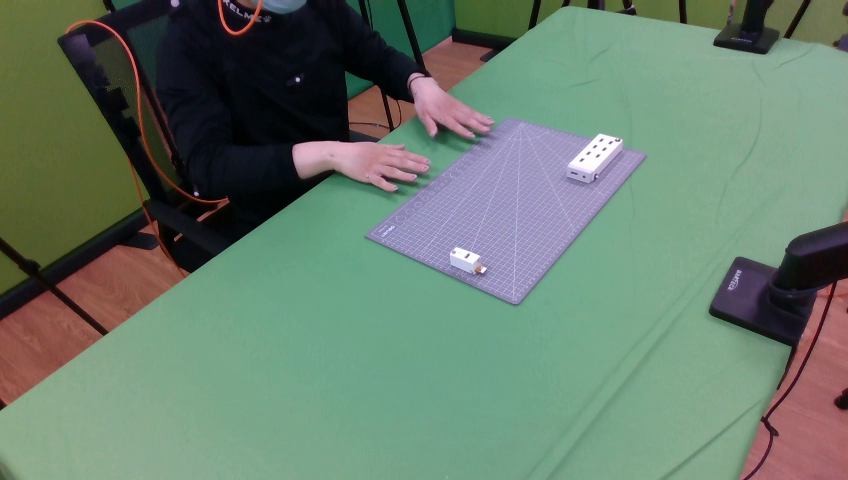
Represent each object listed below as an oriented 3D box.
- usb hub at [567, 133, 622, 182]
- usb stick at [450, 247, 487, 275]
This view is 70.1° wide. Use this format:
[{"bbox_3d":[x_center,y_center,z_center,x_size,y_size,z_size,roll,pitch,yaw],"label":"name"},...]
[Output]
[{"bbox_3d":[0.309,-0.149,1.091,0.049,0.025,0.125,24,50,31],"label":"usb hub"},{"bbox_3d":[0.069,0.033,0.912,0.059,0.027,0.021,24,48,28],"label":"usb stick"}]
